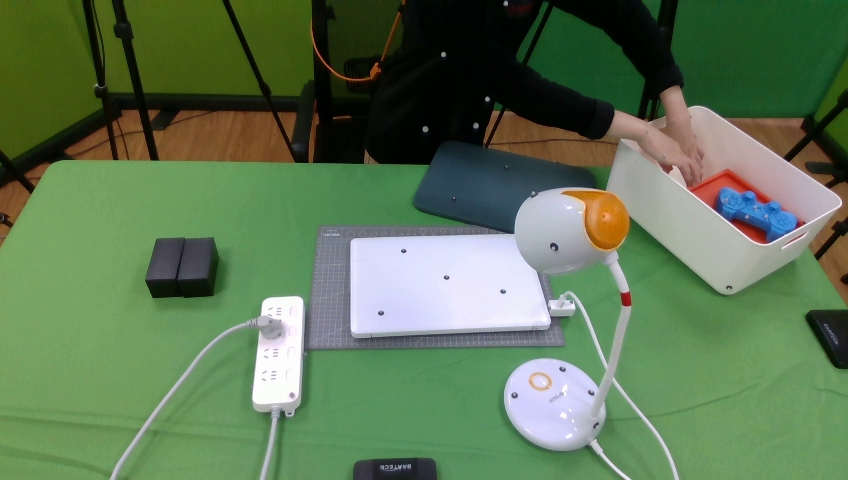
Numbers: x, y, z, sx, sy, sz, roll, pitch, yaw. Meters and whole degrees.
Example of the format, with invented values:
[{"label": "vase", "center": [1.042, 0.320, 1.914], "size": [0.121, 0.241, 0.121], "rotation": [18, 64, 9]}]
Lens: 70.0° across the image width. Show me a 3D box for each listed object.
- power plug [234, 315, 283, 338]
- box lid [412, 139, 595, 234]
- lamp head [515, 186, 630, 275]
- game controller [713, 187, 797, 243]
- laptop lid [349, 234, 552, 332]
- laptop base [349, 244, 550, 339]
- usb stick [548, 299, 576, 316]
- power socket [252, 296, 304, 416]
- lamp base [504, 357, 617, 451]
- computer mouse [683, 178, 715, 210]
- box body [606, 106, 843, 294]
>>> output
[{"label": "power plug", "center": [-0.269, 0.143, 1.000], "size": [0.072, 0.053, 0.035], "rotation": [4, 47, 3]}, {"label": "box lid", "center": [0.182, -0.111, 1.327], "size": [0.371, 0.015, 0.262], "rotation": [14, 46, 10]}, {"label": "lamp head", "center": [0.188, -0.013, 0.728], "size": [0.112, 0.112, 0.122], "rotation": [-25, 9, -25]}, {"label": "game controller", "center": [0.646, -0.057, 1.183], "size": [0.154, 0.052, 0.097], "rotation": [27, 53, 20]}, {"label": "laptop lid", "center": [0.040, 0.071, 1.118], "size": [0.357, 0.013, 0.240], "rotation": [0, 44, -5]}, {"label": "laptop base", "center": [0.039, 0.081, 1.125], "size": [0.355, 0.023, 0.234], "rotation": [-2, 43, -6]}, {"label": "usb stick", "center": [0.239, 0.121, 1.084], "size": [0.059, 0.027, 0.021], "rotation": [-1, 51, -1]}, {"label": "power socket", "center": [-0.238, 0.181, 0.997], "size": [0.072, 0.033, 0.225], "rotation": [-3, 47, -5]}, {"label": "lamp base", "center": [0.220, 0.211, 0.903], "size": [0.160, 0.181, 0.178], "rotation": [-33, 59, -30]}, {"label": "computer mouse", "center": [0.596, -0.078, 1.291], "size": [0.117, 0.041, 0.063], "rotation": [56, 46, -7]}, {"label": "box body", "center": [0.582, -0.088, 1.230], "size": [0.254, 0.161, 0.361], "rotation": [-22, 52, -23]}]
